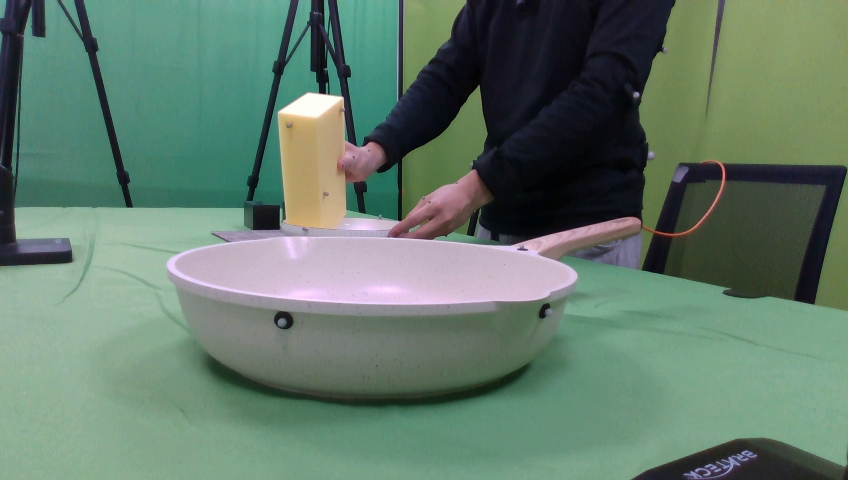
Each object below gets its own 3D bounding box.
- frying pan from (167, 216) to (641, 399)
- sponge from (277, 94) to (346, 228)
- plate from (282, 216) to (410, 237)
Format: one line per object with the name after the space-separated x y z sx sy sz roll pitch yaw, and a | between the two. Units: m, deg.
0.046 0.024 0.519 0.490 0.102 0.305 -14 16 -37 | frying pan
-0.172 -0.114 0.953 0.061 0.207 0.118 7 30 9 | sponge
-0.126 -0.012 0.986 0.208 0.039 0.207 2 7 0 | plate
